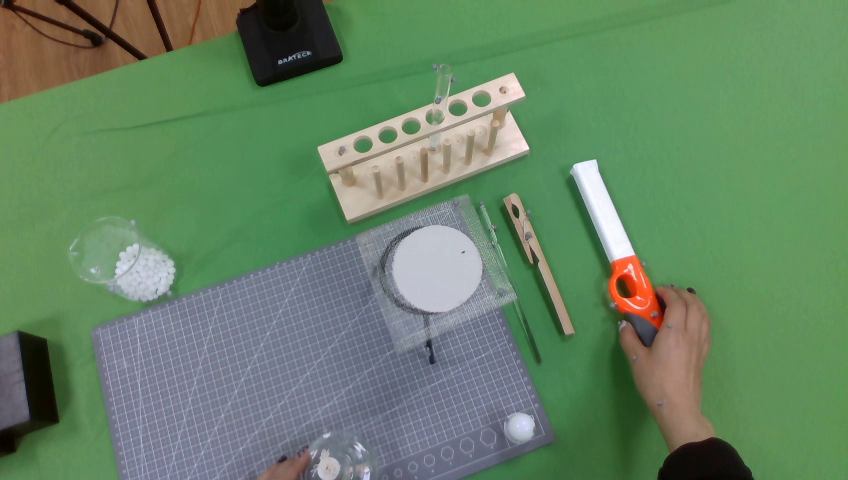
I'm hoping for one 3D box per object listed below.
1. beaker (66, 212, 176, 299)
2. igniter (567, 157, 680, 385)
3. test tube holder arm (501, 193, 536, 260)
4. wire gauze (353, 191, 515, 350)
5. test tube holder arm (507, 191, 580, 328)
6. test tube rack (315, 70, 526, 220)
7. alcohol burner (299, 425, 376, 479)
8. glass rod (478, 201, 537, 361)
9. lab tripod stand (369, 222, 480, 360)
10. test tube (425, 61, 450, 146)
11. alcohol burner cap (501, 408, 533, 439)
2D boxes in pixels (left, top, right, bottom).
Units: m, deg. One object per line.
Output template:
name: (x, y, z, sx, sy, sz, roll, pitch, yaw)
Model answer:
beaker: (-0.332, 0.022, 0.674, 0.084, 0.101, 0.073, -2, 70, 1)
igniter: (0.228, 0.029, 0.697, 0.057, 0.025, 0.274, -13, 72, -12)
test tube holder arm: (0.115, -0.016, 0.721, 0.010, 0.015, 0.087, -34, 69, 31)
wire gauze: (0.007, 0.024, 0.573, 0.121, 0.011, 0.124, -22, 72, -4)
test tube holder arm: (0.136, 0.020, 0.704, 0.013, 0.015, 0.177, -36, 68, 31)
test tube rack: (0.003, -0.111, 0.718, 0.242, 0.086, 0.066, -22, 72, -6)
alcohol burner: (-0.088, 0.220, 0.592, 0.078, 0.120, 0.077, -1, 69, 3)
glass rod: (0.097, 0.044, 0.706, 0.008, 0.008, 0.198, -17, 75, -5)
lab tripod stand: (-0.002, 0.045, 0.638, 0.148, 0.132, 0.147, -1, 72, 3)
test tube: (0.013, -0.148, 0.678, 0.017, 0.151, 0.017, 2, 68, -4)
alcohol burner cap: (0.099, 0.191, 0.635, 0.034, 0.048, 0.033, 0, 70, 1)
